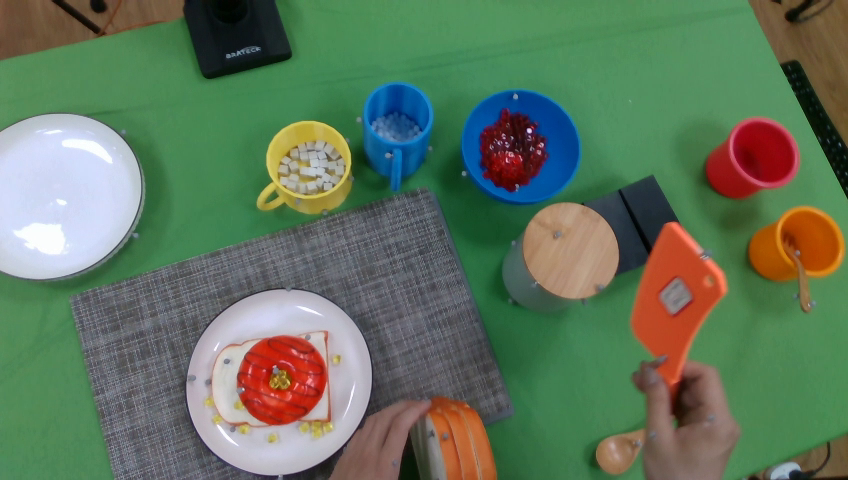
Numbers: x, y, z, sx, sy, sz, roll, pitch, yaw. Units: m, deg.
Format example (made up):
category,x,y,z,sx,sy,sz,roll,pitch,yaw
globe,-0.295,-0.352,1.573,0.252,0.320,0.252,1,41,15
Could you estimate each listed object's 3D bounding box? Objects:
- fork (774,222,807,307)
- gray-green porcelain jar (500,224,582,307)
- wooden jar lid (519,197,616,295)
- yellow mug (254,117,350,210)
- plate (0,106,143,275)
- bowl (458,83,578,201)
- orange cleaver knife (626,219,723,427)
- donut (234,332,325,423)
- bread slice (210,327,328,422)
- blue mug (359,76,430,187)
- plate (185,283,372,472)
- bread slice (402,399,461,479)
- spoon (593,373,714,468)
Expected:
category,x,y,z,sx,sy,sz,roll,pitch,yaw
fork,0.450,0.026,0.740,0.028,0.018,0.207,44,32,-1
gray-green porcelain jar,0.150,0.023,0.721,0.106,0.127,0.105,2,76,-6
wooden jar lid,0.155,0.007,0.661,0.108,0.021,0.108,2,78,-8
yellow mug,-0.155,-0.084,0.746,0.131,0.064,0.099,-40,83,-12
plate,-0.440,-0.057,0.723,0.208,0.039,0.206,2,76,-6
bowl,0.112,-0.114,0.775,0.151,0.077,0.150,1,77,-5
orange cleaver knife,0.202,0.078,0.517,0.012,0.213,0.076,-20,41,-19
donut,-0.159,0.150,0.670,0.099,0.048,0.098,2,78,-9
bread slice,-0.177,0.158,0.699,0.132,0.019,0.104,-4,76,-11
blue mug,-0.039,-0.124,0.748,0.082,0.106,0.116,2,76,-5
plate,-0.164,0.155,0.698,0.209,0.038,0.208,1,76,-5
bread slice,0.007,0.224,0.655,0.018,0.134,0.106,-11,77,-17
spoon,0.286,0.216,0.743,0.194,0.022,0.041,-30,63,-12
